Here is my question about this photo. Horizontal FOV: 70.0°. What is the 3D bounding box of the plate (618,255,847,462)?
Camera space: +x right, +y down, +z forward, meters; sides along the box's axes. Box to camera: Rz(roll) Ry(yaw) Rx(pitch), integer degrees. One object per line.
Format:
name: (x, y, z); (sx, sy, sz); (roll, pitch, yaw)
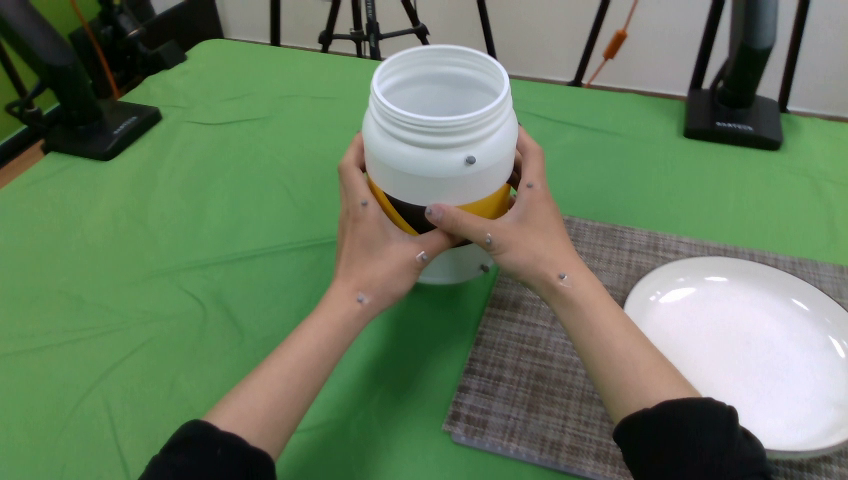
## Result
plate: (0.271, 0.097, 0.521); (0.207, 0.039, 0.205); (-1, 43, 2)

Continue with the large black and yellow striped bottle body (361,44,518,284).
large black and yellow striped bottle body: (0.013, -0.063, 0.536); (0.131, 0.185, 0.129); (0, 47, 0)
